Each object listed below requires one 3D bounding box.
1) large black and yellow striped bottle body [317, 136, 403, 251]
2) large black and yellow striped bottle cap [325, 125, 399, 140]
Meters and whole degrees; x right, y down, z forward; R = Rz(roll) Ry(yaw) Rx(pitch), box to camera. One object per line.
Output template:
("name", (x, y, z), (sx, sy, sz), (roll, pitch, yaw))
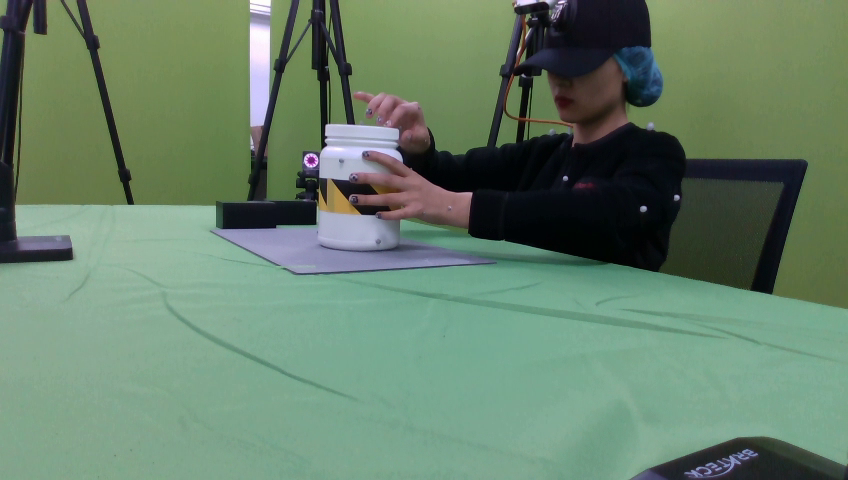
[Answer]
("large black and yellow striped bottle body", (-0.100, -0.081, 0.952), (0.131, 0.184, 0.130), (3, 7, 0))
("large black and yellow striped bottle cap", (-0.096, -0.167, 0.939), (0.115, 0.019, 0.115), (2, 7, 0))
